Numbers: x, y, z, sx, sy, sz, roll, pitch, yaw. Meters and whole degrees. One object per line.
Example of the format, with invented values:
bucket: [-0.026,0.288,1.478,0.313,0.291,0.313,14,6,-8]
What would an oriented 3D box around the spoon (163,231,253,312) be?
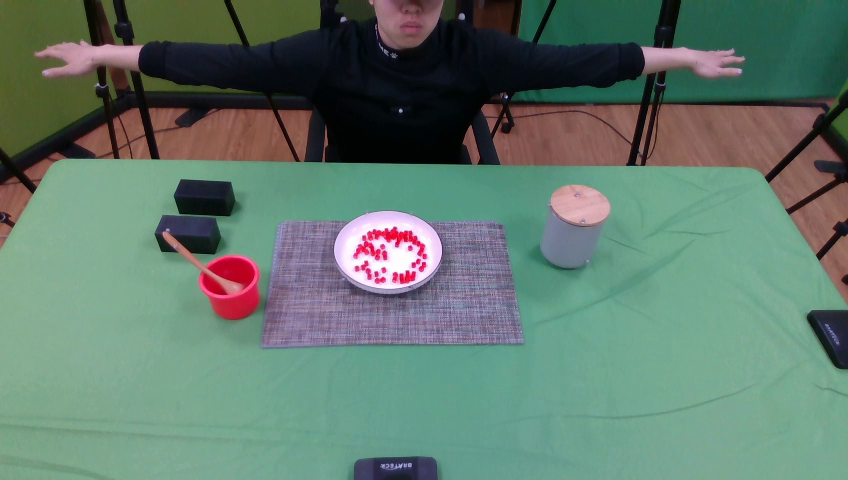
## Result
spoon: [-0.364,0.054,1.025,0.194,0.021,0.041,43,49,-17]

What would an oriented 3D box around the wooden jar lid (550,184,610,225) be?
wooden jar lid: [0.286,-0.061,1.114,0.108,0.021,0.107,0,46,0]

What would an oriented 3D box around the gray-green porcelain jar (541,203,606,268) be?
gray-green porcelain jar: [0.283,-0.017,1.161,0.106,0.127,0.105,2,46,-2]

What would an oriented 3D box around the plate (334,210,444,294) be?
plate: [-0.066,0.026,1.150,0.208,0.039,0.206,2,46,-2]
